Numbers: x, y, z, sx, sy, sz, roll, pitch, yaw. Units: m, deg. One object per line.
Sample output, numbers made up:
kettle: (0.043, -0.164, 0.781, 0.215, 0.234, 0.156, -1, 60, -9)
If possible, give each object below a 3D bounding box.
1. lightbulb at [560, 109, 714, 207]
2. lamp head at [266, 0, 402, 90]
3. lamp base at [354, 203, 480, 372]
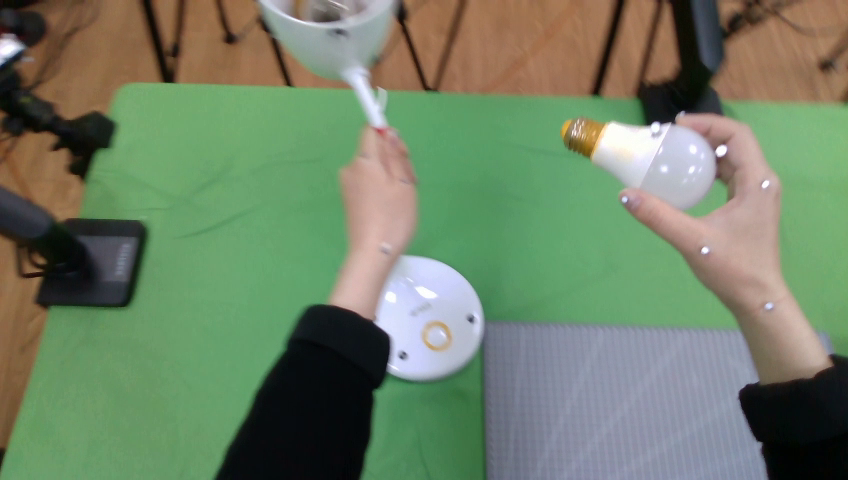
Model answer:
lightbulb: (0.145, -0.063, 0.421, 0.107, 0.060, 0.059, 27, 65, 16)
lamp head: (-0.069, -0.186, 0.491, 0.112, 0.123, 0.111, 1, 69, -3)
lamp base: (-0.015, 0.045, 0.700, 0.160, 0.181, 0.178, -38, 68, -18)
